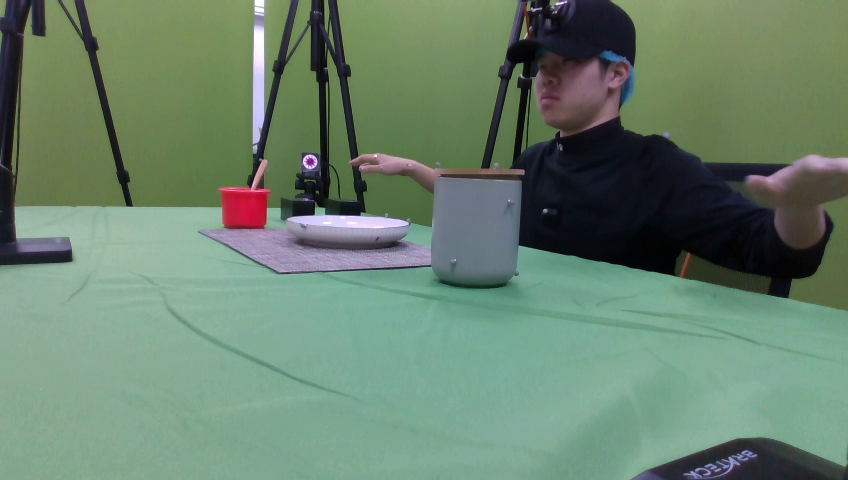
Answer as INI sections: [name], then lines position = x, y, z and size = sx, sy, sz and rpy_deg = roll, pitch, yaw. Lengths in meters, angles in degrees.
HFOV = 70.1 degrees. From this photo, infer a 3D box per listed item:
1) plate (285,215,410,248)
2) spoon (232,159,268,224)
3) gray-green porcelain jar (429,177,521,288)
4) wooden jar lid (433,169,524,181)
[plate]
position = -0.127, -0.015, 1.012
size = 0.208, 0.039, 0.207
rpy_deg = 3, 7, 0
[spoon]
position = -0.342, -0.101, 1.218
size = 0.041, 0.021, 0.193
rpy_deg = 4, 51, 4
[gray-green porcelain jar]
position = 0.060, -0.011, 0.725
size = 0.106, 0.126, 0.106
rpy_deg = 2, 7, 0
[wooden jar lid]
position = 0.064, -0.074, 0.717
size = 0.108, 0.020, 0.108
rpy_deg = 0, 5, 0
